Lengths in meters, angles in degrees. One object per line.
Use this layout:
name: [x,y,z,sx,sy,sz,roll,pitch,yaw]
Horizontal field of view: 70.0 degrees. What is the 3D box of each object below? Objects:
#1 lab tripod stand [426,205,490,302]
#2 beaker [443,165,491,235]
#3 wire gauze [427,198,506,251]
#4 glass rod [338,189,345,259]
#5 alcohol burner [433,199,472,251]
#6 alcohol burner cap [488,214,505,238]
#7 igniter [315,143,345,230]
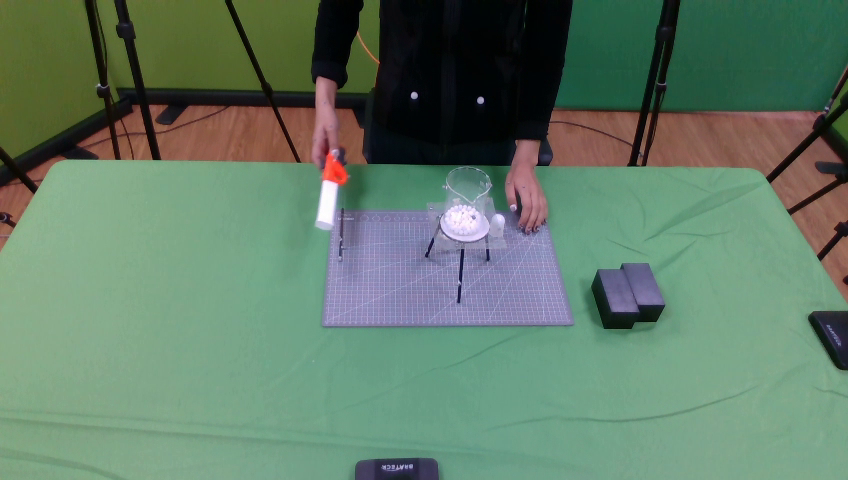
lab tripod stand: [0.069,0.017,1.106,0.148,0.132,0.147,3,47,-3]
beaker: [0.070,-0.062,1.023,0.074,0.101,0.083,-2,48,-6]
wire gauze: [0.072,-0.028,1.057,0.125,0.011,0.120,-1,49,-8]
glass rod: [-0.166,-0.037,1.227,0.008,0.008,0.198,0,47,-4]
alcohol burner: [0.056,-0.036,1.170,0.078,0.119,0.077,3,48,-3]
alcohol burner cap: [0.148,-0.032,1.222,0.034,0.048,0.033,2,46,-2]
igniter: [-0.186,-0.114,1.197,0.057,0.025,0.275,19,36,-18]
